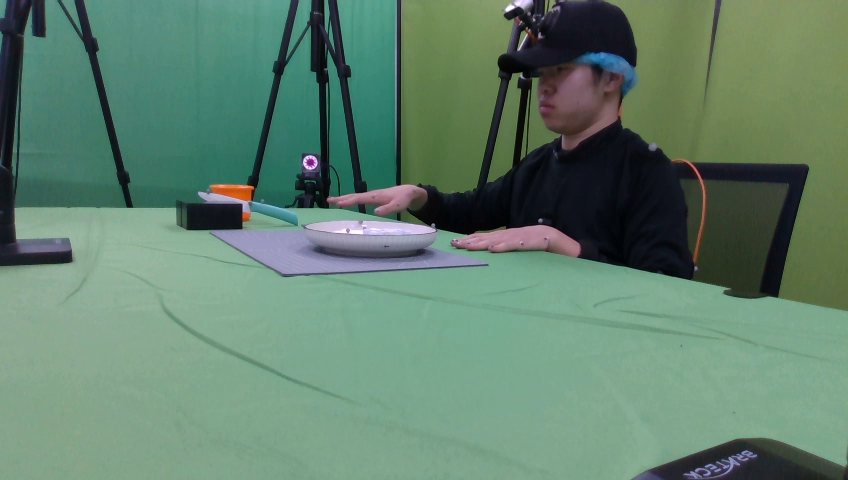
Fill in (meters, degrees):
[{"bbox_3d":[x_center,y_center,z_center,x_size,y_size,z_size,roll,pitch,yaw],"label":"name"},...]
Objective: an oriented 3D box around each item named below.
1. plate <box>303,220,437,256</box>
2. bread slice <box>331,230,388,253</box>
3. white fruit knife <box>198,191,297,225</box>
[{"bbox_3d":[-0.084,-0.003,0.951,0.209,0.038,0.209,3,7,0],"label":"plate"},{"bbox_3d":[-0.088,0.000,0.947,0.105,0.019,0.131,-4,11,-44],"label":"bread slice"},{"bbox_3d":[-0.351,-0.068,1.224,0.208,0.027,0.016,15,-1,-33],"label":"white fruit knife"}]
